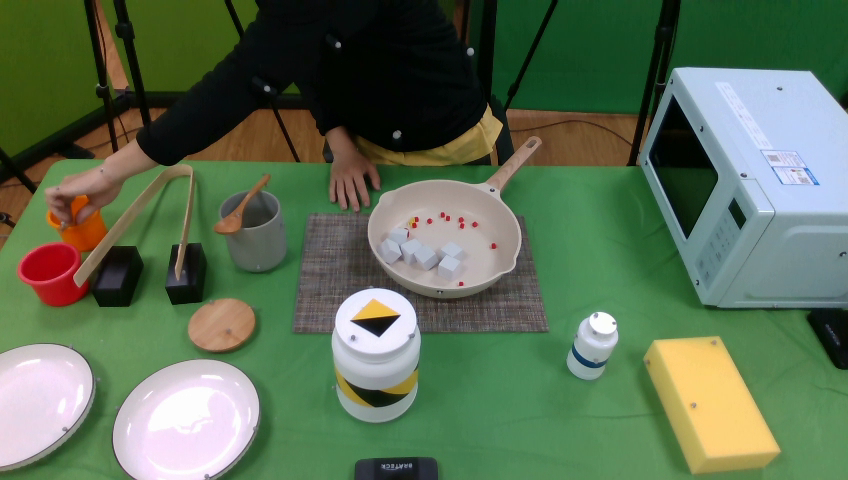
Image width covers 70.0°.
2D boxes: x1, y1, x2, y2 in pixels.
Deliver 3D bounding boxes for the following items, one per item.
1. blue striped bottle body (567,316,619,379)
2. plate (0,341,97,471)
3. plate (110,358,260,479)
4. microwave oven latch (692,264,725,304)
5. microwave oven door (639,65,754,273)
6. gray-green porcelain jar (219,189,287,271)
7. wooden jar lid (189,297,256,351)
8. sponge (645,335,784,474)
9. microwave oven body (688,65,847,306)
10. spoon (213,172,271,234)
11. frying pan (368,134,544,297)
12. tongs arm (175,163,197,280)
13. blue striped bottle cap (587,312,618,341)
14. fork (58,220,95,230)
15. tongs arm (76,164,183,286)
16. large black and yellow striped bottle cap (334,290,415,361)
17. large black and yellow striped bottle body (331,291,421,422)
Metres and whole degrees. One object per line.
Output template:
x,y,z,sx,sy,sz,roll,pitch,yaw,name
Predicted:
0.276,0.169,0.984,0.063,0.121,0.062,2,46,-2,blue striped bottle body
-0.599,0.247,0.904,0.209,0.038,0.208,2,47,-2,plate
-0.349,0.273,0.899,0.208,0.039,0.206,2,46,-2,plate
0.522,0.081,1.116,0.030,0.029,0.078,1,46,-2,microwave oven latch
0.522,-0.147,1.193,0.039,0.245,0.353,0,47,-3,microwave oven door
-0.309,-0.014,1.113,0.106,0.127,0.105,2,46,-2,gray-green porcelain jar
-0.342,0.145,1.033,0.108,0.021,0.107,2,45,-2,wooden jar lid
0.449,0.253,0.956,0.118,0.061,0.205,-4,46,-7,sponge
0.669,-0.111,1.176,0.326,0.261,0.439,0,46,-3,microwave oven body
-0.312,-0.069,1.069,0.041,0.022,0.193,10,43,10,spoon
0.104,-0.069,1.205,0.305,0.103,0.487,32,61,23,frying pan
-0.462,-0.049,1.149,0.051,0.026,0.382,-8,36,-7,tongs arm
0.279,0.134,0.946,0.044,0.021,0.044,2,45,-2,blue striped bottle cap
-0.622,-0.027,1.087,0.028,0.207,0.018,-1,91,-17,fork
-0.547,-0.043,1.143,0.028,0.028,0.385,-3,35,7,tongs arm
-0.069,0.117,0.850,0.115,0.019,0.114,2,45,-2,large black and yellow striped bottle cap
-0.072,0.175,0.911,0.131,0.185,0.130,2,47,-2,large black and yellow striped bottle body
